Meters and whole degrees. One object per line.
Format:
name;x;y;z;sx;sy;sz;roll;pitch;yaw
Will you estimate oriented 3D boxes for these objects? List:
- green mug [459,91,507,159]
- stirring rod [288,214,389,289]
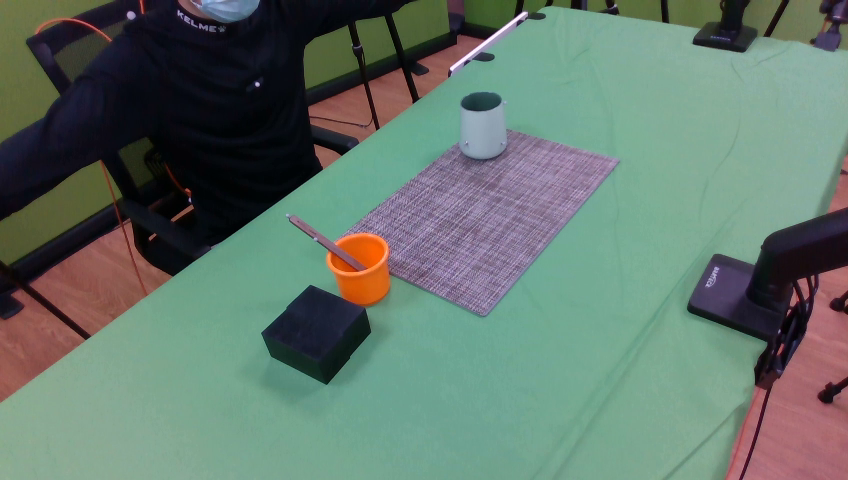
green mug;0.116;-0.225;1.144;0.092;0.105;0.125;14;45;23
stirring rod;-0.122;0.018;0.877;0.177;0.006;0.014;37;47;-13
